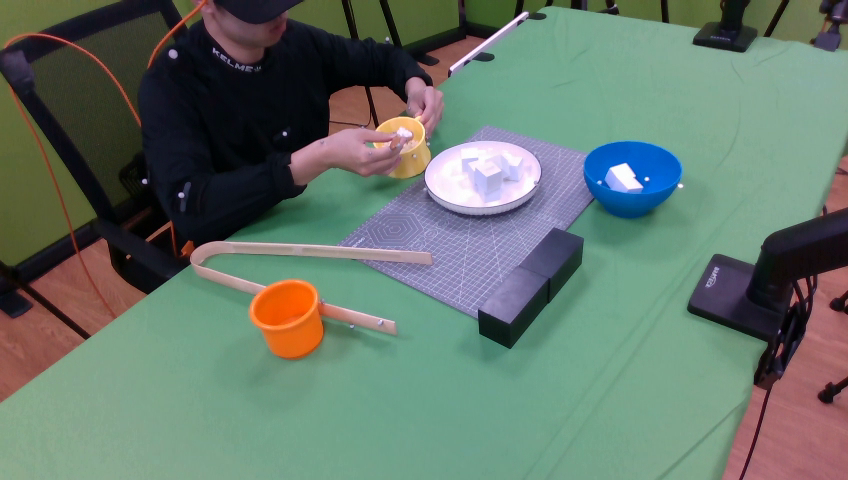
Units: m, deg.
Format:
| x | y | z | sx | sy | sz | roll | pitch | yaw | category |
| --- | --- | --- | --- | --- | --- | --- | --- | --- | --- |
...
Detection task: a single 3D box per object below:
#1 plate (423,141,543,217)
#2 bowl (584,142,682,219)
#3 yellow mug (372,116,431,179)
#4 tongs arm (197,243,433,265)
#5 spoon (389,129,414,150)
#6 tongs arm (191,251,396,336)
| x | y | z | sx | sy | sz | roll | pitch | yaw | category |
| --- | --- | --- | --- | --- | --- | --- | --- | --- | --- |
| 0.103 | -0.104 | 1.059 | 0.207 | 0.039 | 0.206 | -4 | 40 | 4 | plate |
| 0.333 | -0.087 | 0.980 | 0.151 | 0.077 | 0.150 | -4 | 40 | 4 | bowl |
| -0.033 | -0.183 | 1.135 | 0.099 | 0.064 | 0.131 | 25 | 61 | 27 | yellow mug |
| -0.176 | 0.025 | 0.960 | 0.386 | 0.028 | 0.028 | 2 | 45 | 12 | tongs arm |
| -0.044 | -0.172 | 1.029 | 0.041 | 0.021 | 0.193 | -11 | 12 | 8 | spoon |
| -0.204 | 0.075 | 0.902 | 0.382 | 0.026 | 0.051 | 11 | 44 | 22 | tongs arm |
